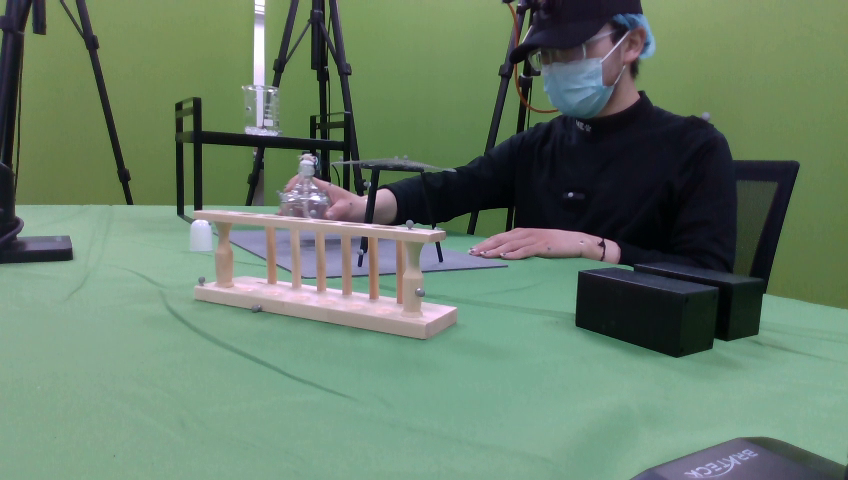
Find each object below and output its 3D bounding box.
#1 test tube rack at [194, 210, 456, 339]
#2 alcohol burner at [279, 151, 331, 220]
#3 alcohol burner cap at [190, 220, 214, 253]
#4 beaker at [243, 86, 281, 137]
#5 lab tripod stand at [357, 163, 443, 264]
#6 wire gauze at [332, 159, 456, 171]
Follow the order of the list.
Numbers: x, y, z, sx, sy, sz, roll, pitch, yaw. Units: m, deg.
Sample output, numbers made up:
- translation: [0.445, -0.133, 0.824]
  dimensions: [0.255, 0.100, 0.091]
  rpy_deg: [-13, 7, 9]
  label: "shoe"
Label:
- translation: [-0.093, 0.023, 0.545]
  dimensions: [0.241, 0.085, 0.067]
  rpy_deg: [6, 8, 25]
  label: "test tube rack"
- translation: [-0.182, -0.076, 0.926]
  dimensions: [0.078, 0.119, 0.078]
  rpy_deg: [3, 7, 0]
  label: "alcohol burner"
- translation: [-0.322, -0.006, 0.875]
  dimensions: [0.034, 0.048, 0.034]
  rpy_deg: [3, 8, 0]
  label: "alcohol burner cap"
- translation: [-0.338, -0.265, 1.253]
  dimensions: [0.073, 0.100, 0.084]
  rpy_deg: [8, 9, 38]
  label: "beaker"
- translation: [-0.044, -0.038, 0.830]
  dimensions: [0.148, 0.131, 0.148]
  rpy_deg: [4, 6, 0]
  label: "lab tripod stand"
- translation: [-0.042, -0.104, 0.819]
  dimensions: [0.126, 0.011, 0.121]
  rpy_deg: [-3, 9, -44]
  label: "wire gauze"
